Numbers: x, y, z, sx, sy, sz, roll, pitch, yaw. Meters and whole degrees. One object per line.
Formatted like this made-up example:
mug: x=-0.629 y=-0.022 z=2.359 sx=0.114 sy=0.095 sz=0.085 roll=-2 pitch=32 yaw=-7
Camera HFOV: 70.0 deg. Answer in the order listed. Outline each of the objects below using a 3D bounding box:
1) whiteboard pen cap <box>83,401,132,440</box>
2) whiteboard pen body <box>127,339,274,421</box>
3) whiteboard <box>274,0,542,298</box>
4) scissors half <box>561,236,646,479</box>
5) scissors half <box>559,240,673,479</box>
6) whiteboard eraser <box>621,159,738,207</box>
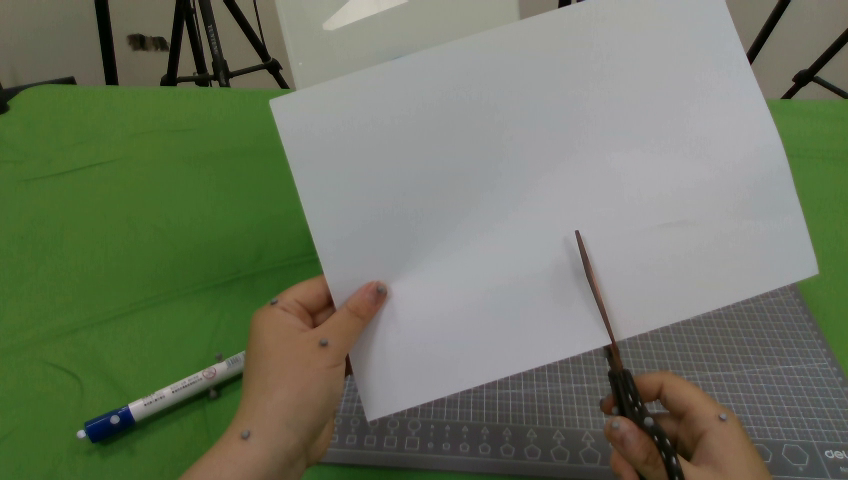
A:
whiteboard pen cap: x=-0.233 y=0.133 z=0.450 sx=0.033 sy=0.018 sz=0.018 roll=-25 pitch=45 yaw=-27
whiteboard pen body: x=-0.185 y=0.113 z=0.476 sx=0.141 sy=0.017 sz=0.017 roll=-23 pitch=44 yaw=-27
whiteboard: x=-0.025 y=-0.134 z=0.603 sx=0.218 sy=0.307 sz=0.142 roll=-16 pitch=21 yaw=-17
scissors half: x=0.114 y=0.080 z=0.371 sx=0.013 sy=0.175 sz=0.040 roll=-19 pitch=-3 yaw=2
scissors half: x=0.110 y=0.074 z=0.350 sx=0.013 sy=0.040 sz=0.173 roll=-21 pitch=61 yaw=7
whiteboard eraser: x=0.280 y=-0.063 z=0.670 sx=0.113 sy=0.042 sz=0.055 roll=1 pitch=41 yaw=1
